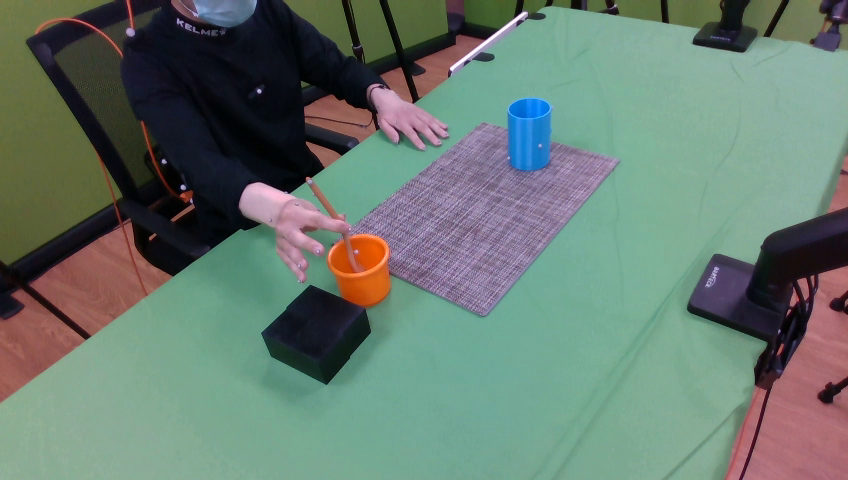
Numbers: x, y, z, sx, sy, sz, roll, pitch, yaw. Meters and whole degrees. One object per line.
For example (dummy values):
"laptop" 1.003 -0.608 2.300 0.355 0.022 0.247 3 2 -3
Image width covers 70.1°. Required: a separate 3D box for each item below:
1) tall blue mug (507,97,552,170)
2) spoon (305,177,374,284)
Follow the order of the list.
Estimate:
"tall blue mug" 0.179 -0.198 1.101 0.078 0.108 0.106 -36 49 -28
"spoon" -0.114 -0.010 0.833 0.021 0.195 0.041 -22 34 1
